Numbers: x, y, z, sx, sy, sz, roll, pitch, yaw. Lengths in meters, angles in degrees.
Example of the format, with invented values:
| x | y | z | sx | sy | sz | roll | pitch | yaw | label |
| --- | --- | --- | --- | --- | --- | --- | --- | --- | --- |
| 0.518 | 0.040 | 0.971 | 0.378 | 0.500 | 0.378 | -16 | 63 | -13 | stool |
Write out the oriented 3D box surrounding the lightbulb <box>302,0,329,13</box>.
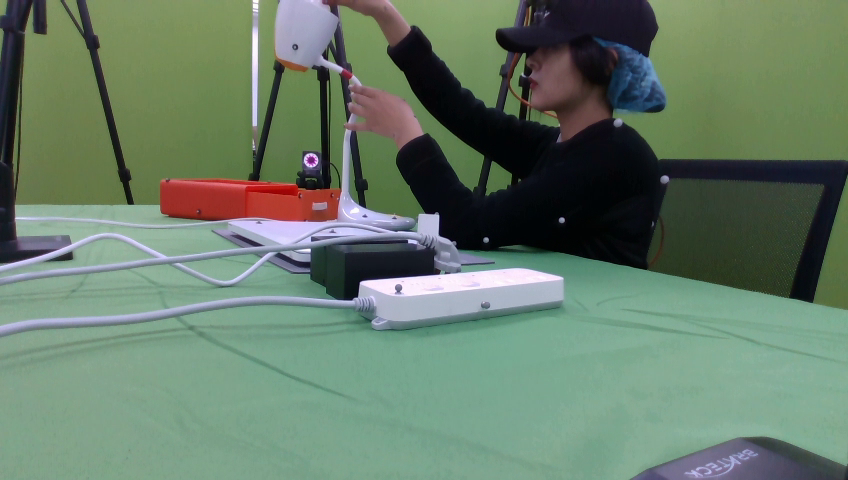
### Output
| x | y | z | sx | sy | sz | roll | pitch | yaw | label |
| --- | --- | --- | --- | --- | --- | --- | --- | --- | --- |
| -0.217 | -0.404 | 1.121 | 0.059 | 0.107 | 0.059 | 23 | -1 | 1 | lightbulb |

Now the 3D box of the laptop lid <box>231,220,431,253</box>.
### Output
| x | y | z | sx | sy | sz | roll | pitch | yaw | label |
| --- | --- | --- | --- | --- | --- | --- | --- | --- | --- |
| -0.142 | -0.009 | 0.942 | 0.243 | 0.013 | 0.355 | 1 | 7 | -31 | laptop lid |

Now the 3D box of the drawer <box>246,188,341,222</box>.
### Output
| x | y | z | sx | sy | sz | roll | pitch | yaw | label |
| --- | --- | --- | --- | --- | --- | --- | --- | --- | --- |
| -0.312 | -0.078 | 1.296 | 0.211 | 0.073 | 0.195 | 4 | 9 | 17 | drawer |

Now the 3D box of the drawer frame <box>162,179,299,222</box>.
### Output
| x | y | z | sx | sy | sz | roll | pitch | yaw | label |
| --- | --- | --- | --- | --- | --- | --- | --- | --- | --- |
| -0.418 | -0.089 | 1.329 | 0.213 | 0.082 | 0.202 | 4 | 8 | 18 | drawer frame |

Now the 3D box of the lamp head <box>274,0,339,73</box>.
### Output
| x | y | z | sx | sy | sz | roll | pitch | yaw | label |
| --- | --- | --- | --- | --- | --- | --- | --- | --- | --- |
| -0.225 | -0.374 | 1.123 | 0.112 | 0.123 | 0.112 | 16 | 10 | -3 | lamp head |

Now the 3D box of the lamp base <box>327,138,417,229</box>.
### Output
| x | y | z | sx | sy | sz | roll | pitch | yaw | label |
| --- | --- | --- | --- | --- | --- | --- | --- | --- | --- |
| -0.106 | -0.113 | 1.212 | 0.180 | 0.180 | 0.160 | -3 | 7 | -14 | lamp base |

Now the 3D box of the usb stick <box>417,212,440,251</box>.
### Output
| x | y | z | sx | sy | sz | roll | pitch | yaw | label |
| --- | --- | --- | --- | --- | --- | --- | --- | --- | --- |
| 0.005 | -0.003 | 0.721 | 0.027 | 0.059 | 0.021 | 0 | -3 | -3 | usb stick |

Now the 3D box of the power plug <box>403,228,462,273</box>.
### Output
| x | y | z | sx | sy | sz | roll | pitch | yaw | label |
| --- | --- | --- | --- | --- | --- | --- | --- | --- | --- |
| 0.006 | 0.016 | 0.647 | 0.073 | 0.052 | 0.035 | 17 | 12 | -6 | power plug |

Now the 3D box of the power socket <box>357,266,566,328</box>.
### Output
| x | y | z | sx | sy | sz | roll | pitch | yaw | label |
| --- | --- | --- | --- | --- | --- | --- | --- | --- | --- |
| 0.042 | 0.049 | 0.573 | 0.228 | 0.032 | 0.072 | -3 | 8 | -34 | power socket |

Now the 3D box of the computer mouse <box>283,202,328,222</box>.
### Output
| x | y | z | sx | sy | sz | roll | pitch | yaw | label |
| --- | --- | --- | --- | --- | --- | --- | --- | --- | --- |
| -0.251 | -0.060 | 1.287 | 0.063 | 0.041 | 0.117 | 3 | 4 | 11 | computer mouse |

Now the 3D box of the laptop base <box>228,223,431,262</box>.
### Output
| x | y | z | sx | sy | sz | roll | pitch | yaw | label |
| --- | --- | --- | --- | --- | --- | --- | --- | --- | --- |
| -0.145 | 0.002 | 0.942 | 0.237 | 0.023 | 0.352 | 2 | 6 | -32 | laptop base |
